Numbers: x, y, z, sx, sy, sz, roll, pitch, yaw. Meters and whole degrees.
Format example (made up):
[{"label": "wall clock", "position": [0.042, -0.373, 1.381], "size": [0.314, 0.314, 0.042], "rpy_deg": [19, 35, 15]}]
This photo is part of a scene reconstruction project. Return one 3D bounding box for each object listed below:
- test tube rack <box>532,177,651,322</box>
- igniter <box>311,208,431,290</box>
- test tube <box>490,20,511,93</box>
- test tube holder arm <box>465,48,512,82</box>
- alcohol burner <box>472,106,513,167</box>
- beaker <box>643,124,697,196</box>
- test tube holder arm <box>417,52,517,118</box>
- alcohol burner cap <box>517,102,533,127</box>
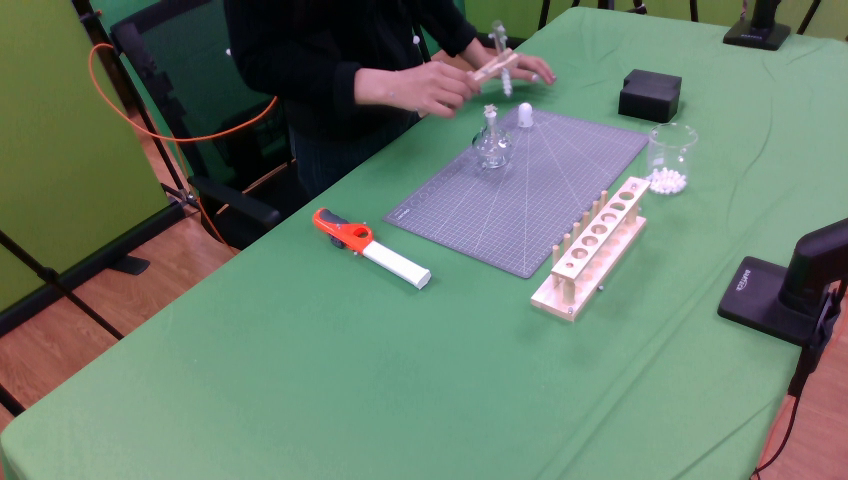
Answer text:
[{"label": "test tube rack", "position": [0.247, 0.002, 0.883], "size": [0.066, 0.085, 0.243], "rpy_deg": [22, 49, 32]}, {"label": "igniter", "position": [-0.096, 0.008, 0.986], "size": [0.274, 0.025, 0.057], "rpy_deg": [29, 63, 36]}, {"label": "test tube", "position": [0.122, -0.284, 0.949], "size": [0.017, 0.151, 0.017], "rpy_deg": [-6, 62, 12]}, {"label": "test tube holder arm", "position": [0.102, -0.271, 0.952], "size": [0.088, 0.015, 0.010], "rpy_deg": [-38, 55, -8]}, {"label": "alcohol burner", "position": [0.125, -0.195, 1.111], "size": [0.078, 0.119, 0.077], "rpy_deg": [-4, 42, 5]}, {"label": "beaker", "position": [0.407, -0.132, 1.001], "size": [0.084, 0.101, 0.073], "rpy_deg": [-20, 42, -14]}, {"label": "test tube holder arm", "position": [0.068, -0.242, 0.945], "size": [0.178, 0.015, 0.013], "rpy_deg": [-33, 54, -4]}, {"label": "alcohol burner cap", "position": [0.205, -0.255, 1.223], "size": [0.034, 0.048, 0.033], "rpy_deg": [-6, 40, 5]}]
